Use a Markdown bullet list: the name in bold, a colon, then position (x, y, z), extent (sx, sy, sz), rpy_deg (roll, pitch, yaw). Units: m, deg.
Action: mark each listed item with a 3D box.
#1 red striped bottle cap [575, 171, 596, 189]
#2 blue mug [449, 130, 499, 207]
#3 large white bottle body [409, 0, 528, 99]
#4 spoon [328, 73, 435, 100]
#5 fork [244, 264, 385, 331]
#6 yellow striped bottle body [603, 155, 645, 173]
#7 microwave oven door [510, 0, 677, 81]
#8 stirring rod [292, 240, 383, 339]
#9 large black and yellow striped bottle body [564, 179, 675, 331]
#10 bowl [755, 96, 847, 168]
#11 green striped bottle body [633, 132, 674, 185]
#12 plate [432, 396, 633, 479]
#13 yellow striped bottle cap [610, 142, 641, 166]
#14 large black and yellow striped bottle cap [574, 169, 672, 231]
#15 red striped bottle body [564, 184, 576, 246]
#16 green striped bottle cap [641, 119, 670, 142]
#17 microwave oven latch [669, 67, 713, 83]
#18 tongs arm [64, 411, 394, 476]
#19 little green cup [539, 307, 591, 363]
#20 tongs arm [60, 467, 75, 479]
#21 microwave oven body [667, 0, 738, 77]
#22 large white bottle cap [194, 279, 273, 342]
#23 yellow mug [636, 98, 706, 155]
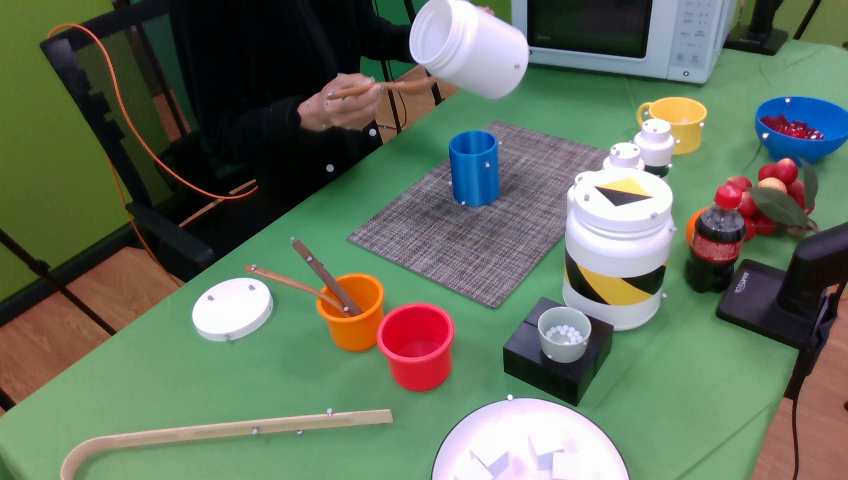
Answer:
- **red striped bottle cap**: position (0.242, -0.081, 0.876), extent (0.044, 0.018, 0.044), rpy_deg (-5, 43, 5)
- **blue mug**: position (0.089, -0.132, 1.049), extent (0.082, 0.106, 0.116), rpy_deg (0, 40, 8)
- **large white bottle body**: position (0.077, -0.329, 1.047), extent (0.186, 0.130, 0.129), rpy_deg (7, 25, -41)
- **spoon**: position (-0.054, -0.205, 0.811), extent (0.195, 0.021, 0.041), rpy_deg (-19, -3, -43)
- **fork**: position (-0.142, 0.078, 0.806), extent (0.209, 0.018, 0.028), rpy_deg (30, 32, -23)
- **yellow striped bottle body**: position (0.314, -0.090, 0.957), extent (0.063, 0.121, 0.062), rpy_deg (-4, 40, 4)
- **microwave oven door**: position (0.354, -0.478, 1.290), extent (0.353, 0.245, 0.039), rpy_deg (15, 45, 25)
- **stirring rod**: position (-0.118, 0.068, 0.826), extent (0.176, 0.006, 0.014), rpy_deg (48, 59, -4)
- **large black and yellow striped bottle body**: position (0.253, 0.014, 0.793), extent (0.131, 0.185, 0.130), rpy_deg (-5, 40, 4)
- **bowl**: position (0.645, -0.177, 1.041), extent (0.151, 0.077, 0.150), rpy_deg (-5, 40, 4)
- **green striped bottle body**: position (0.376, -0.135, 1.001), extent (0.063, 0.120, 0.063), rpy_deg (-5, 40, 5)
- **plate**: position (0.112, 0.261, 0.634), extent (0.209, 0.038, 0.208), rpy_deg (-5, 40, 4)
- **yellow striped bottle cap**: position (0.309, -0.131, 0.925), extent (0.044, 0.019, 0.044), rpy_deg (-4, 45, 5)
- **large black and yellow striped bottle cap**: position (0.242, -0.051, 0.738), extent (0.115, 0.019, 0.114), rpy_deg (-4, 37, 3)
- **red striped bottle body**: position (0.247, -0.041, 0.910), extent (0.063, 0.120, 0.062), rpy_deg (-3, 39, 3)
- **green striped bottle cap**: position (0.371, -0.175, 0.968), extent (0.044, 0.020, 0.044), rpy_deg (-4, 42, 4)
- **microwave oven latch**: position (0.556, -0.349, 1.261), extent (0.078, 0.029, 0.030), rpy_deg (16, 46, 27)
- **tongs arm**: position (-0.228, 0.241, 0.715), extent (0.385, 0.026, 0.050), rpy_deg (-5, 44, 4)
- **little green cup**: position (0.167, 0.114, 0.721), extent (0.061, 0.039, 0.061), rpy_deg (-4, 43, 4)
- **tongs arm**: position (-0.239, 0.302, 0.649), extent (0.386, 0.028, 0.028), rpy_deg (6, 49, 16)
- **microwave oven body**: position (0.462, -0.552, 1.369), extent (0.439, 0.261, 0.326), rpy_deg (15, 45, 26)
- **large white bottle cap**: position (-0.284, 0.102, 0.902), extent (0.115, 0.018, 0.114), rpy_deg (-4, 40, 4)
- **yellow mug**: position (0.453, -0.217, 1.128), extent (0.100, 0.064, 0.129), rpy_deg (-34, 46, -28)
